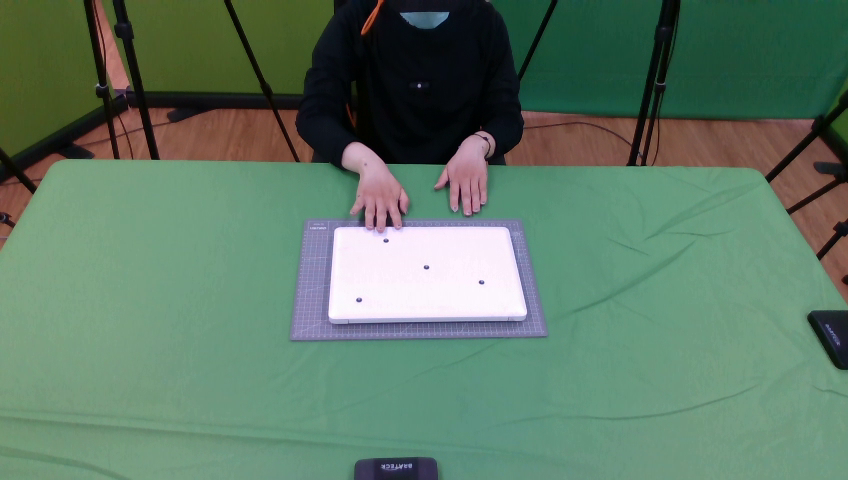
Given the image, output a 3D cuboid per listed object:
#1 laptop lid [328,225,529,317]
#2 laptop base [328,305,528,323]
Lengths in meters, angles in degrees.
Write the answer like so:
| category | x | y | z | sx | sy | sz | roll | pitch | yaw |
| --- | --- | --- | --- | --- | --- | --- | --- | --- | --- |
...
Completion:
| category | x | y | z | sx | sy | sz | roll | pitch | yaw |
| --- | --- | --- | --- | --- | --- | --- | --- | --- | --- |
| laptop lid | 0.005 | 0.051 | 1.130 | 0.357 | 0.013 | 0.240 | 1 | 44 | -3 |
| laptop base | 0.005 | 0.061 | 1.137 | 0.355 | 0.023 | 0.234 | -1 | 43 | -4 |
